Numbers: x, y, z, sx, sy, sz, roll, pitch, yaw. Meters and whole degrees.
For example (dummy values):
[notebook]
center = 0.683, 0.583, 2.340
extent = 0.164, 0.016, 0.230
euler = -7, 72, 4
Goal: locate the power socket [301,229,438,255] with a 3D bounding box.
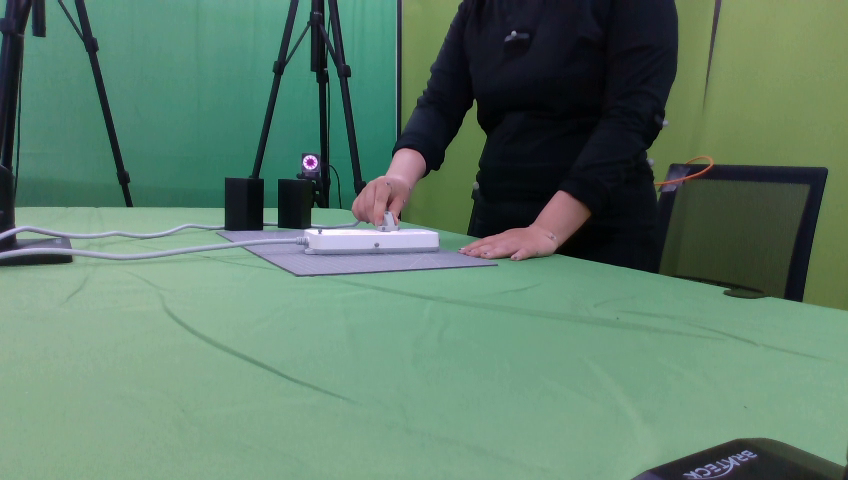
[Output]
[power socket]
center = -0.081, 0.001, 0.941
extent = 0.228, 0.032, 0.072
euler = -1, 7, -27

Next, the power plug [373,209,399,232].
[power plug]
center = -0.062, -0.023, 0.981
extent = 0.035, 0.052, 0.072
euler = 0, 9, -12
